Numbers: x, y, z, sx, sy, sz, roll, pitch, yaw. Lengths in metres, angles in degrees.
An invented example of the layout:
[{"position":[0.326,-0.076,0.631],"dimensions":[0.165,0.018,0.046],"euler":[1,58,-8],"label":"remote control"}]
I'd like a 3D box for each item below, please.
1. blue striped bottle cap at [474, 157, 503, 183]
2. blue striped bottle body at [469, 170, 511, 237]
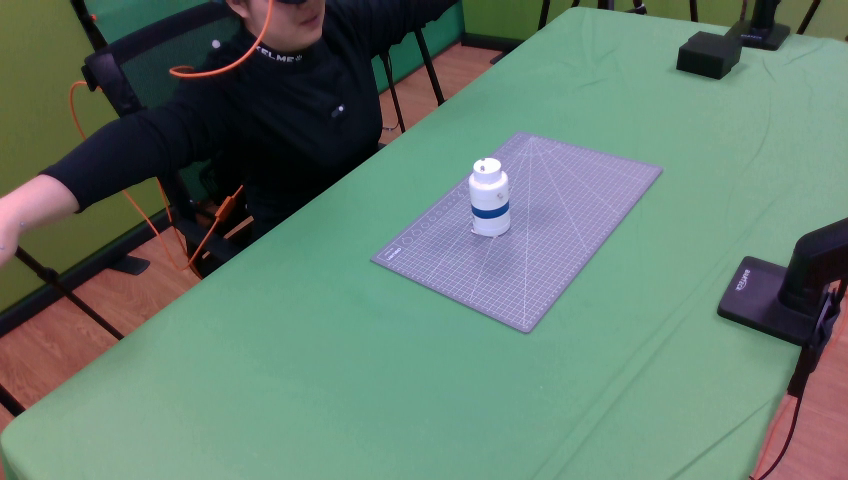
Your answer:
[{"position":[0.099,-0.108,0.931],"dimensions":[0.044,0.021,0.044],"euler":[-6,41,6],"label":"blue striped bottle cap"},{"position":[0.105,-0.069,0.963],"dimensions":[0.063,0.121,0.063],"euler":[-6,40,5],"label":"blue striped bottle body"}]
